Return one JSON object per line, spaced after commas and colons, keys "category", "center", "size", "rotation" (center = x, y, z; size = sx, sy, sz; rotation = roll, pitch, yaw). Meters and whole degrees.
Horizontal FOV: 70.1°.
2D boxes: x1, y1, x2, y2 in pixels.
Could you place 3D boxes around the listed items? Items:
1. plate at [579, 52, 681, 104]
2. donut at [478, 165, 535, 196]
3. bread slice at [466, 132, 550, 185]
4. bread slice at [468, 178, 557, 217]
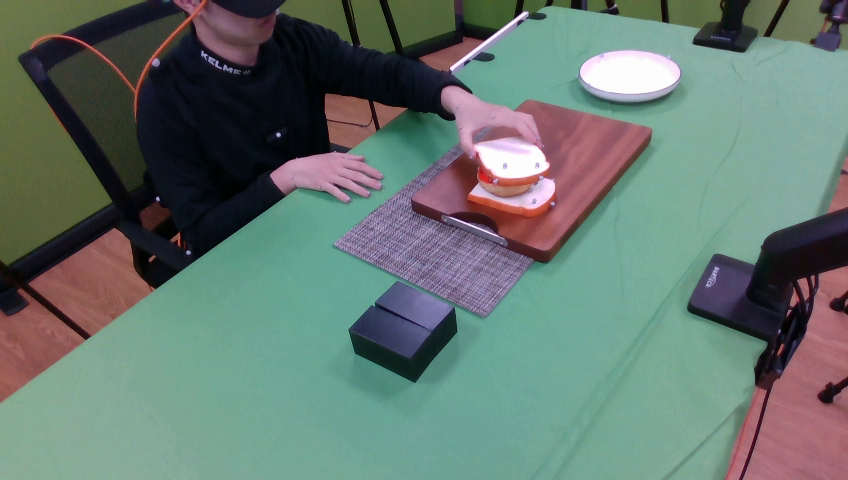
{"category": "plate", "center": [0.437, -0.343, 1.294], "size": [0.209, 0.038, 0.208], "rotation": [-4, 40, 4]}
{"category": "donut", "center": [0.137, -0.109, 0.990], "size": [0.099, 0.048, 0.098], "rotation": [-4, 39, 4]}
{"category": "bread slice", "center": [0.141, -0.129, 0.967], "size": [0.107, 0.018, 0.133], "rotation": [-15, 39, -13]}
{"category": "bread slice", "center": [0.154, -0.082, 1.004], "size": [0.130, 0.019, 0.105], "rotation": [18, 48, 29]}
